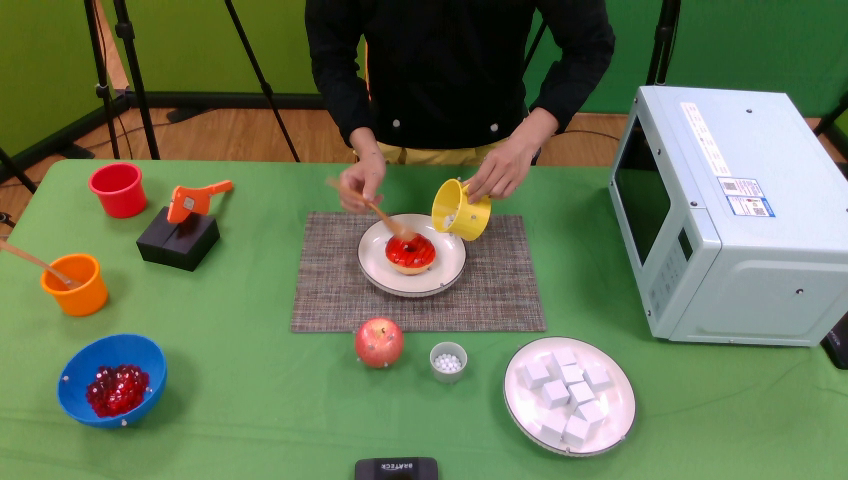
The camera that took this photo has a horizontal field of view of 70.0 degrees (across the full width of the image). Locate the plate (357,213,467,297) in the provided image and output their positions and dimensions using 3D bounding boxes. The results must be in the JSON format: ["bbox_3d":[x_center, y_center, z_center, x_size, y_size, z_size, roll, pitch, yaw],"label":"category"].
[{"bbox_3d":[-0.023,0.032,1.150,0.209,0.038,0.208,2,46,-2],"label":"plate"}]

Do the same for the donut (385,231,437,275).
[{"bbox_3d":[-0.024,0.024,1.141,0.099,0.048,0.098,3,44,-3],"label":"donut"}]

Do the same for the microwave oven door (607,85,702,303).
[{"bbox_3d":[0.423,-0.094,1.141,0.039,0.245,0.353,2,46,-1],"label":"microwave oven door"}]

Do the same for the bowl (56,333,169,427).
[{"bbox_3d":[-0.456,0.223,0.911,0.151,0.077,0.150,3,46,-2],"label":"bowl"}]

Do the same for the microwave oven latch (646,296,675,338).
[{"bbox_3d":[0.412,0.134,1.061,0.030,0.029,0.078,3,45,0],"label":"microwave oven latch"}]

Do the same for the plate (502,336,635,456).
[{"bbox_3d":[0.225,0.248,0.963,0.208,0.039,0.206,2,46,-2],"label":"plate"}]

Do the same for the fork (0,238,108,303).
[{"bbox_3d":[-0.633,0.048,1.017,0.208,0.018,0.028,40,41,-27],"label":"fork"}]

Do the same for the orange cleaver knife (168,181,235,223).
[{"bbox_3d":[-0.436,-0.078,1.196,0.012,0.077,0.211,16,15,10],"label":"orange cleaver knife"}]

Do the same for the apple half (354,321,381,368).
[{"bbox_3d":[-0.097,0.176,0.985,0.033,0.081,0.080,-12,48,-20],"label":"apple half"}]

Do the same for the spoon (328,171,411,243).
[{"bbox_3d":[-0.091,-0.057,1.041,0.021,0.195,0.041,-33,30,21],"label":"spoon"}]

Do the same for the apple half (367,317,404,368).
[{"bbox_3d":[-0.061,0.167,0.998,0.053,0.075,0.080,-11,44,-20],"label":"apple half"}]

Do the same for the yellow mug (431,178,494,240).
[{"bbox_3d":[0.074,-0.064,1.079,0.064,0.131,0.099,15,48,-28],"label":"yellow mug"}]

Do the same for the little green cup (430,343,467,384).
[{"bbox_3d":[0.039,0.203,0.993,0.061,0.039,0.061,2,46,-2],"label":"little green cup"}]

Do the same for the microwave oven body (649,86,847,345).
[{"bbox_3d":[0.568,-0.053,1.118,0.326,0.261,0.439,2,45,-1],"label":"microwave oven body"}]
